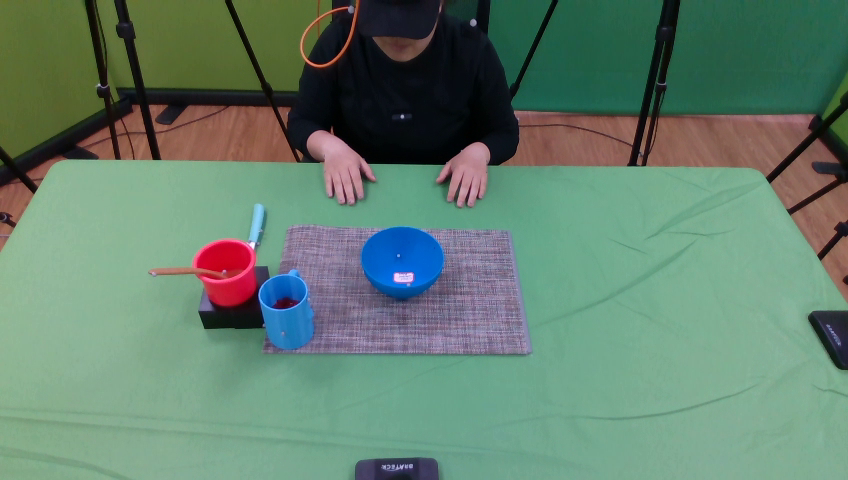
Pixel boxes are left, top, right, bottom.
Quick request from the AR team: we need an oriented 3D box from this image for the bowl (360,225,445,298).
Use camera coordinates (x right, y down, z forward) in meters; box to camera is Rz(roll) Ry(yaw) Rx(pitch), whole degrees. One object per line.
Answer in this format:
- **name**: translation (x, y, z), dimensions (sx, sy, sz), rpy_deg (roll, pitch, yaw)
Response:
- **bowl**: translation (-0.040, 0.053, 1.099), dimensions (0.151, 0.077, 0.150), rpy_deg (2, 46, -2)

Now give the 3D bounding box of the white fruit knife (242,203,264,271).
- **white fruit knife**: translation (-0.334, 0.001, 1.178), dimensions (0.027, 0.016, 0.206), rpy_deg (-18, 46, 17)

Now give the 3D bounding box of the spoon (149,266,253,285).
- **spoon**: translation (-0.351, 0.052, 0.968), dimensions (0.041, 0.021, 0.194), rpy_deg (42, 13, 28)

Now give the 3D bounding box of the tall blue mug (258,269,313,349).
- **tall blue mug**: translation (-0.232, 0.108, 1.010), dimensions (0.078, 0.108, 0.106), rpy_deg (-15, 49, -17)
